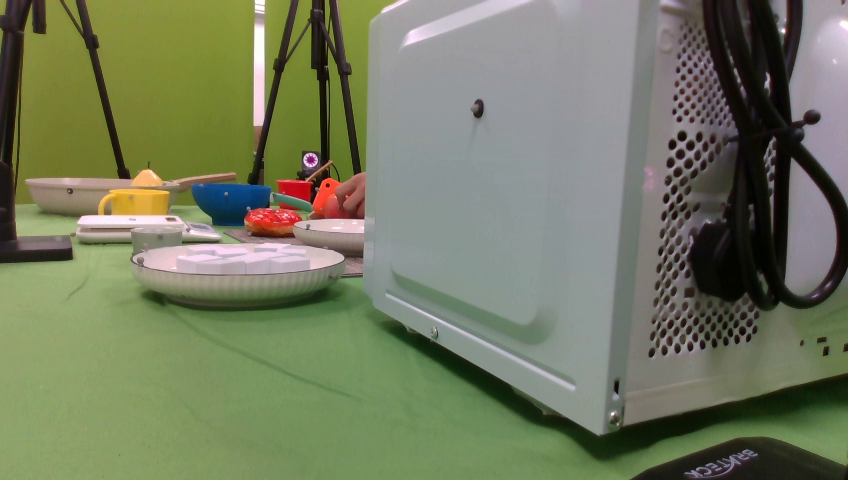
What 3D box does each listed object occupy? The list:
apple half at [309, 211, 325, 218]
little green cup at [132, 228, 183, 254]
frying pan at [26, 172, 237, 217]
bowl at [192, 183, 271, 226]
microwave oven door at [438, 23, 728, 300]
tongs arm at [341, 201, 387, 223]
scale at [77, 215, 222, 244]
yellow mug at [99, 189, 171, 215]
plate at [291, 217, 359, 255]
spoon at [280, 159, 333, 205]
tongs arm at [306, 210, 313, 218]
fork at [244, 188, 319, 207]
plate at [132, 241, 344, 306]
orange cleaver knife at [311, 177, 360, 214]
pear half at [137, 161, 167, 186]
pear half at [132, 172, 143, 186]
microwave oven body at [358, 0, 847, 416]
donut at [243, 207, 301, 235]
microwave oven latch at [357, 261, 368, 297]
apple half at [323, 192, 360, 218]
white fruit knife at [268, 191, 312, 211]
[{"bbox_3d":[-0.188,-0.053,1.211,0.081,0.032,0.081,-23,-9,-4],"label":"apple half"},{"bbox_3d":[-0.342,0.006,0.779,0.061,0.038,0.061,2,8,0],"label":"little green cup"},{"bbox_3d":[-0.624,-0.118,1.387,0.305,0.102,0.490,8,17,32],"label":"frying pan"},{"bbox_3d":[-0.382,-0.071,1.202,0.151,0.077,0.151,3,7,0],"label":"bowl"},{"bbox_3d":[0.181,-0.073,0.621,0.358,0.243,0.039,-2,8,-29],"label":"microwave oven door"},{"bbox_3d":[-0.149,-0.069,1.430,0.051,0.026,0.383,-4,8,-14],"label":"tongs arm"},{"bbox_3d":[-0.434,-0.019,0.963,0.202,0.031,0.148,-1,9,-27],"label":"scale"},{"bbox_3d":[-0.519,-0.055,1.080,0.099,0.064,0.131,7,9,26],"label":"yellow mug"},{"bbox_3d":[-0.098,-0.007,0.928,0.209,0.038,0.209,2,8,0],"label":"plate"},{"bbox_3d":[-0.316,-0.159,1.640,0.194,0.022,0.041,-50,32,-20],"label":"spoon"},{"bbox_3d":[-0.234,-0.067,1.415,0.028,0.028,0.387,-5,7,1],"label":"tongs arm"},{"bbox_3d":[-0.356,-0.105,1.526,0.208,0.018,0.028,16,-6,-41],"label":"fork"},{"bbox_3d":[-0.187,0.033,0.625,0.208,0.039,0.207,2,8,0],"label":"plate"},{"bbox_3d":[-0.110,-0.073,1.166,0.212,0.077,0.012,6,8,-22],"label":"orange cleaver knife"},{"bbox_3d":[-0.602,-0.120,1.354,0.056,0.110,0.076,4,11,6],"label":"pear half"},{"bbox_3d":[-0.638,-0.113,1.361,0.031,0.088,0.070,5,11,4],"label":"pear half"},{"bbox_3d":[0.211,-0.047,0.474,0.444,0.260,0.324,-1,7,-28],"label":"microwave oven body"},{"bbox_3d":[-0.261,-0.032,1.043,0.099,0.048,0.099,4,9,0],"label":"donut"},{"bbox_3d":[-0.019,0.033,0.530,0.079,0.029,0.030,-1,7,-26],"label":"microwave oven latch"},{"bbox_3d":[-0.145,-0.052,1.123,0.081,0.074,0.053,5,14,-19],"label":"apple half"},{"bbox_3d":[-0.364,-0.105,1.464,0.208,0.027,0.016,15,0,-34],"label":"white fruit knife"}]
